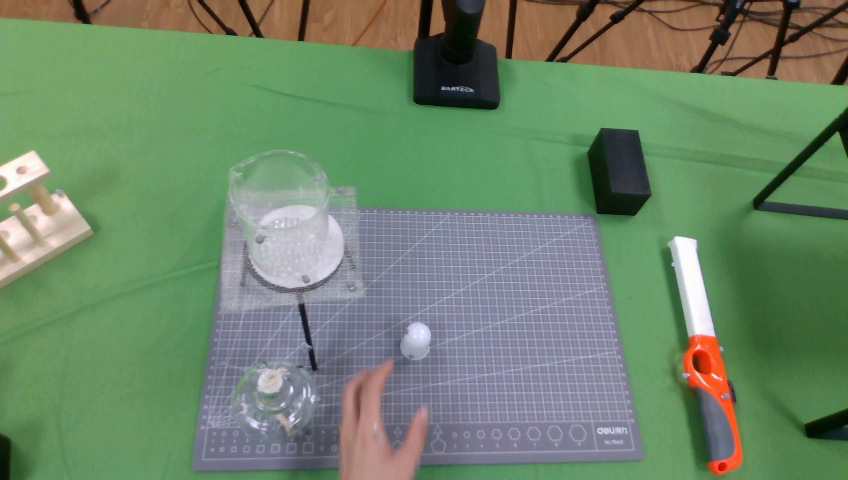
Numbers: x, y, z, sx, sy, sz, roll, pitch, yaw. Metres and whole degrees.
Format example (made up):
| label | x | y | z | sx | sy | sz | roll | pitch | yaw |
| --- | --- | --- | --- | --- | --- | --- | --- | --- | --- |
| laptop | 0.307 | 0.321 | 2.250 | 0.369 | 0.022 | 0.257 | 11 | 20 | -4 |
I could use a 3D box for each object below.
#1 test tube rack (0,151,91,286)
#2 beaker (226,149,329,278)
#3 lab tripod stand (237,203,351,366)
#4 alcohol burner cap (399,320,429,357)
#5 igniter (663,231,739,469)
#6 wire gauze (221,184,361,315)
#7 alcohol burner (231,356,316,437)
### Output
| label | x | y | z | sx | sy | sz | roll | pitch | yaw |
| --- | --- | --- | --- | --- | --- | --- | --- | --- | --- |
| test tube rack | -0.477 | 0.017 | 0.602 | 0.242 | 0.086 | 0.066 | -37 | 72 | -24 |
| beaker | -0.121 | -0.019 | 0.507 | 0.084 | 0.101 | 0.073 | 24 | 61 | 5 |
| lab tripod stand | -0.126 | 0.038 | 0.607 | 0.149 | 0.132 | 0.147 | 4 | 62 | -7 |
| alcohol burner cap | -0.010 | 0.102 | 0.640 | 0.034 | 0.048 | 0.033 | 2 | 64 | -4 |
| igniter | 0.311 | 0.114 | 0.686 | 0.057 | 0.025 | 0.274 | 9 | 61 | -15 |
| wire gauze | -0.122 | 0.003 | 0.552 | 0.122 | 0.011 | 0.124 | -4 | 66 | -8 |
| alcohol burner | -0.140 | 0.139 | 0.561 | 0.078 | 0.120 | 0.077 | 4 | 59 | -7 |
